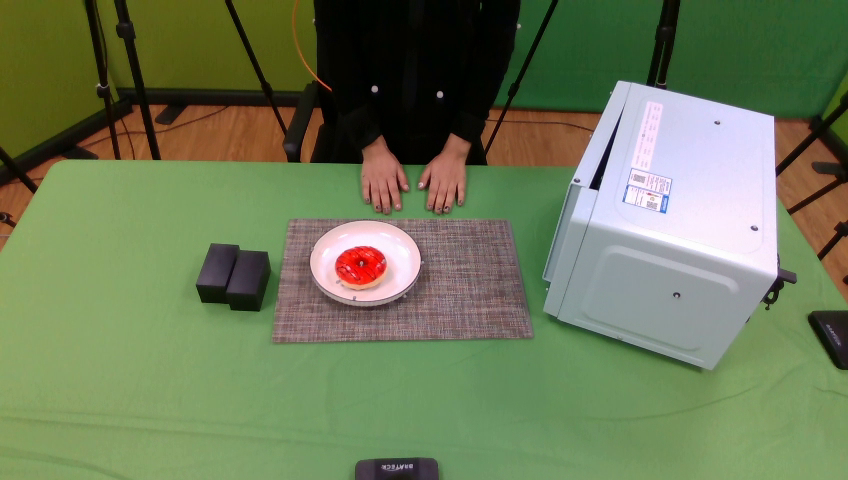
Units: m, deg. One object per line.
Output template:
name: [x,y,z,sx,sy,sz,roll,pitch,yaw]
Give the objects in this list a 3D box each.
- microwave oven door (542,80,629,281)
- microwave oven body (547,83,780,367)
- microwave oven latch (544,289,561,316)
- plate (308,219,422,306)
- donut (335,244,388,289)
microwave oven door: [0.315,-0.119,1.158,0.039,0.245,0.354,20,48,15]
microwave oven body: [0.445,-0.041,1.101,0.325,0.261,0.440,17,47,13]
microwave oven latch: [0.237,0.098,1.087,0.030,0.029,0.079,18,47,14]
plate: [-0.110,0.044,1.132,0.209,0.038,0.208,2,46,-2]
donut: [-0.115,0.047,1.113,0.099,0.048,0.098,1,45,-1]
